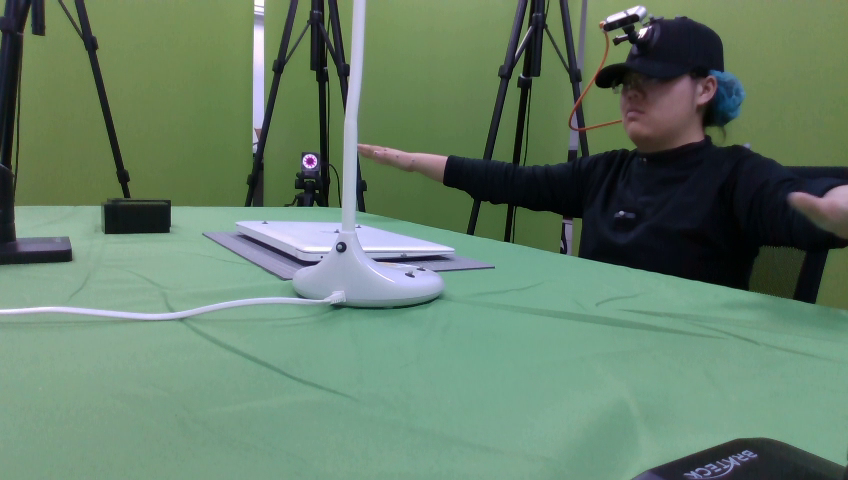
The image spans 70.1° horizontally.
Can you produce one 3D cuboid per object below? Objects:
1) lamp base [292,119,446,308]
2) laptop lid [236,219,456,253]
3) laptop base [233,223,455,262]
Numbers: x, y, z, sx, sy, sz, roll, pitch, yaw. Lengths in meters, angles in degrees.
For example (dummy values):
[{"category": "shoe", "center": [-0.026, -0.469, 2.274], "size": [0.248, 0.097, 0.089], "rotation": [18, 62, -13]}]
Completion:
[{"category": "lamp base", "center": [-0.056, -0.030, 0.616], "size": [0.160, 0.180, 0.179], "rotation": [3, 10, 8]}, {"category": "laptop lid", "center": [-0.139, -0.009, 0.959], "size": [0.243, 0.013, 0.355], "rotation": [1, 7, -30]}, {"category": "laptop base", "center": [-0.142, 0.003, 0.959], "size": [0.237, 0.023, 0.352], "rotation": [2, 6, -32]}]
